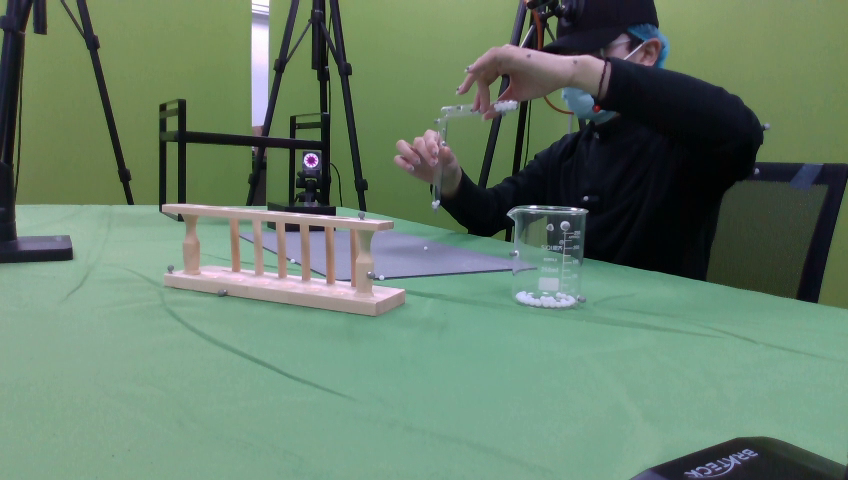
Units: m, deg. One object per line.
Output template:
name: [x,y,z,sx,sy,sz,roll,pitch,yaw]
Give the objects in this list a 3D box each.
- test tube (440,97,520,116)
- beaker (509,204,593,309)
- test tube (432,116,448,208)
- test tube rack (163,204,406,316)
test tube: [0.080,-0.195,0.884,0.017,0.017,0.149,-4,7,-42]
beaker: [0.126,0.015,0.613,0.084,0.100,0.074,1,7,-5]
test tube: [0.025,-0.123,0.969,0.017,0.150,0.017,4,21,-1]
test tube rack: [-0.141,0.013,0.601,0.241,0.085,0.067,5,8,21]
